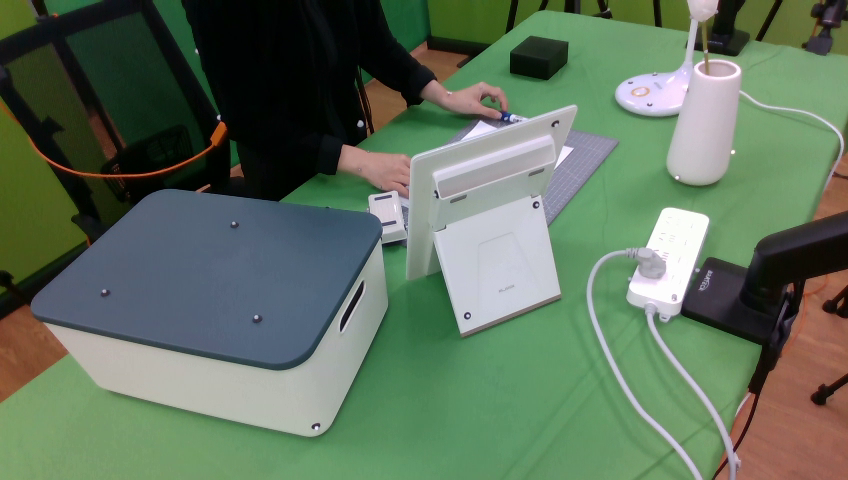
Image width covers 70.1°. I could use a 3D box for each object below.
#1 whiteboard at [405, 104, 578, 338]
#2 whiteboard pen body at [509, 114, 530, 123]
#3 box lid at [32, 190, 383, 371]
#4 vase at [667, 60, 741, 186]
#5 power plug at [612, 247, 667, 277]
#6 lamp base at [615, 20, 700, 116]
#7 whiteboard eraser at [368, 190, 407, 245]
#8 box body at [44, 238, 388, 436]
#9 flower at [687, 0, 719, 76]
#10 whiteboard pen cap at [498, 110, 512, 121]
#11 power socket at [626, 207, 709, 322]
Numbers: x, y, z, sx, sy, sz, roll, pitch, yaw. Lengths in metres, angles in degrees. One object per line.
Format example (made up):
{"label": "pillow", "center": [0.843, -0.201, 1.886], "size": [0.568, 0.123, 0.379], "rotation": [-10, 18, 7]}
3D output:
{"label": "whiteboard", "center": [0.102, 0.003, 0.787], "size": [0.218, 0.306, 0.143], "rotation": [-19, 62, -14]}
{"label": "whiteboard pen body", "center": [0.212, -0.235, 1.213], "size": [0.139, 0.017, 0.017], "rotation": [26, 50, 37]}
{"label": "box lid", "center": [-0.257, 0.032, 0.750], "size": [0.370, 0.015, 0.263], "rotation": [7, 41, 16]}
{"label": "vase", "center": [0.463, -0.189, 0.994], "size": [0.098, 0.201, 0.097], "rotation": [-4, 40, 3]}
{"label": "power plug", "center": [0.306, 0.031, 0.852], "size": [0.072, 0.053, 0.035], "rotation": [21, 48, 37]}
{"label": "lamp base", "center": [0.484, -0.364, 1.211], "size": [0.180, 0.181, 0.159], "rotation": [-15, 41, -14]}
{"label": "whiteboard eraser", "center": [-0.061, -0.035, 1.006], "size": [0.056, 0.042, 0.112], "rotation": [-9, 40, -3]}
{"label": "box body", "center": [-0.251, 0.088, 0.799], "size": [0.362, 0.161, 0.254], "rotation": [7, 42, 16]}
{"label": "flower", "center": [0.436, -0.242, 0.934], "size": [0.038, 0.364, 0.043], "rotation": [-24, 49, 8]}
{"label": "whiteboard pen cap", "center": [0.169, -0.256, 1.247], "size": [0.033, 0.018, 0.018], "rotation": [31, 53, 34]}
{"label": "power socket", "center": [0.360, 0.026, 0.886], "size": [0.072, 0.033, 0.227], "rotation": [17, 46, 27]}
